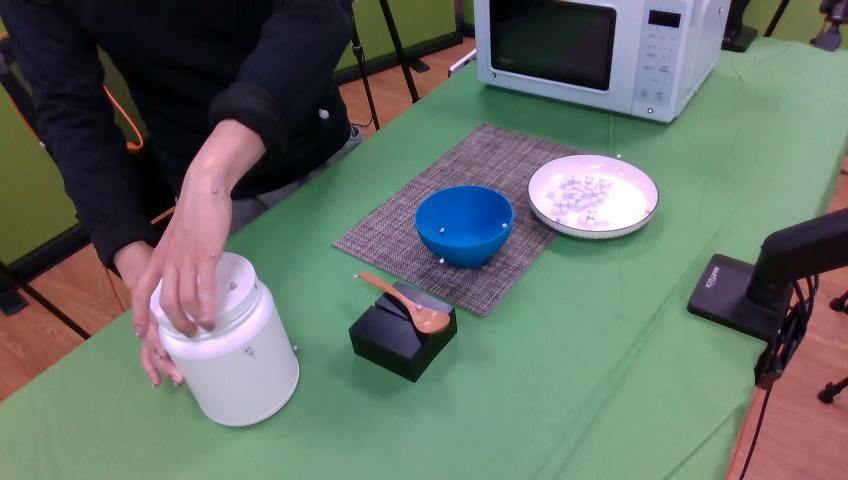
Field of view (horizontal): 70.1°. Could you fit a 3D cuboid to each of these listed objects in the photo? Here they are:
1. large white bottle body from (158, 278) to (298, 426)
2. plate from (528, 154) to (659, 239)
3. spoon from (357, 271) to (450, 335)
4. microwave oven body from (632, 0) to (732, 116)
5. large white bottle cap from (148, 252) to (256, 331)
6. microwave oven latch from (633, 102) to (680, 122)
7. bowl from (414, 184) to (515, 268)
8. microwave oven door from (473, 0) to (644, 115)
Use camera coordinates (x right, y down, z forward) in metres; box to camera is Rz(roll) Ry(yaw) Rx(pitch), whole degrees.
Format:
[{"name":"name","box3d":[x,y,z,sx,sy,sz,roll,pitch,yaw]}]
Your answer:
[{"name":"large white bottle body","box3d":[-0.237,0.122,0.733,0.130,0.185,0.130,-4,41,4]},{"name":"plate","box3d":[0.274,-0.069,0.993,0.209,0.038,0.208,-2,42,2]},{"name":"spoon","box3d":[-0.034,0.078,0.812,0.042,0.022,0.192,-36,43,-23]},{"name":"microwave oven body","box3d":[0.377,-0.462,1.267,0.438,0.261,0.327,21,48,30]},{"name":"large white bottle cap","box3d":[-0.247,0.055,0.676,0.115,0.018,0.114,-3,39,3]},{"name":"microwave oven latch","box3d":[0.444,-0.249,1.157,0.078,0.029,0.030,21,49,30]},{"name":"bowl","box3d":[0.063,-0.010,0.923,0.151,0.077,0.150,-4,40,4]},{"name":"microwave oven door","box3d":[0.257,-0.396,1.199,0.353,0.245,0.039,21,48,29]}]
